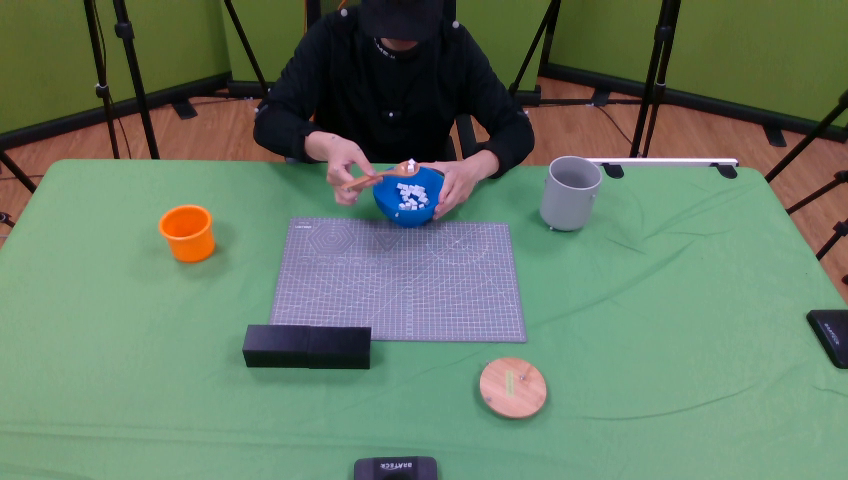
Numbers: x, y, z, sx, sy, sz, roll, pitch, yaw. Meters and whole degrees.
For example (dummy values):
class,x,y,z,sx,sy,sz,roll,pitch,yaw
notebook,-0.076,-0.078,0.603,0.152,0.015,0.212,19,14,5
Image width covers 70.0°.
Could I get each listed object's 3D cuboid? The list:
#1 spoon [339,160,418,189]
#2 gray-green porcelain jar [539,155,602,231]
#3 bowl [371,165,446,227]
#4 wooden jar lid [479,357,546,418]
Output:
class,x,y,z,sx,sy,sz,roll,pitch,yaw
spoon,-0.082,-0.120,1.107,0.041,0.022,0.194,40,37,26
gray-green porcelain jar,0.294,-0.091,1.235,0.106,0.127,0.105,2,46,-2
bowl,-0.033,-0.079,1.229,0.151,0.077,0.150,2,44,-2
wooden jar lid,0.142,0.240,0.979,0.108,0.021,0.107,1,46,-1
